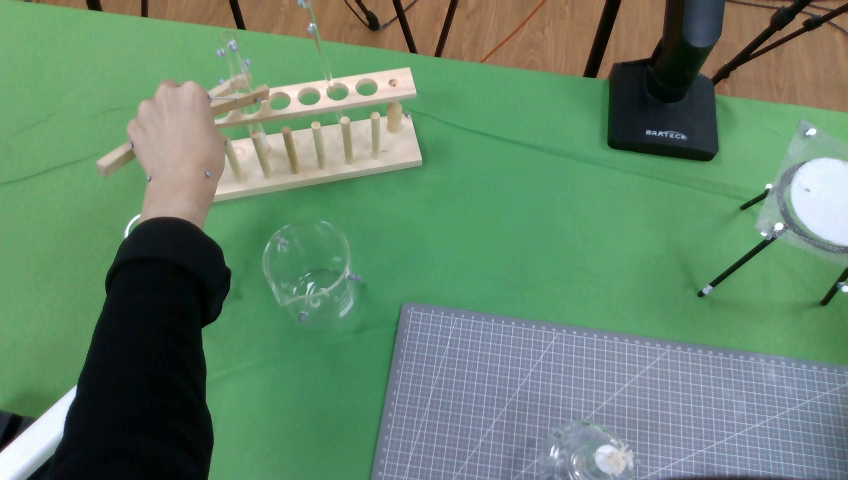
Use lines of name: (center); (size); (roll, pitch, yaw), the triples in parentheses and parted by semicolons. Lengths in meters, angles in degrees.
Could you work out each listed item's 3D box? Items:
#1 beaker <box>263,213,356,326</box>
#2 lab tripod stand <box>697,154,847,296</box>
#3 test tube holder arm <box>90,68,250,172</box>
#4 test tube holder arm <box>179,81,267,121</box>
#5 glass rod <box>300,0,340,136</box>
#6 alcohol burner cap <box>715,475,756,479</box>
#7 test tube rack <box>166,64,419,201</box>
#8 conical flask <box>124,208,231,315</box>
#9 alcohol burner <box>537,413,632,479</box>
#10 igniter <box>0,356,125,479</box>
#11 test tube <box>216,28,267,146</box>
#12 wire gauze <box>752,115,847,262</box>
beaker: (-0.102, 0.034, 0.557); (0.074, 0.101, 0.083); (22, 66, 10)
lab tripod stand: (0.345, -0.007, 0.569); (0.148, 0.132, 0.147); (1, 64, -2)
test tube holder arm: (-0.217, -0.111, 0.537); (0.013, 0.015, 0.178); (32, 49, 12)
test tube holder arm: (-0.187, -0.130, 0.563); (0.088, 0.015, 0.010); (-27, 63, -33)
glass rod: (-0.099, -0.168, 0.586); (0.008, 0.201, 0.008); (-2, 57, 4)
alcohol burner cap: (0.268, 0.214, 0.510); (0.034, 0.048, 0.033); (1, 65, -1)
test tube rack: (-0.129, -0.111, 0.631); (0.243, 0.086, 0.066); (-11, 65, -7)
conical flask: (-0.227, 0.016, 0.548); (0.075, 0.123, 0.074); (1, 64, -1)
alcohol burner: (0.133, 0.175, 0.485); (0.078, 0.120, 0.077); (2, 64, -3)
igniter: (-0.349, 0.200, 0.458); (0.057, 0.025, 0.276); (34, 68, 24)
test tube: (-0.175, -0.141, 0.589); (0.017, 0.151, 0.017); (1, 60, -1)
wire gauze: (0.354, -0.037, 0.509); (0.121, 0.011, 0.124); (28, 68, 10)
